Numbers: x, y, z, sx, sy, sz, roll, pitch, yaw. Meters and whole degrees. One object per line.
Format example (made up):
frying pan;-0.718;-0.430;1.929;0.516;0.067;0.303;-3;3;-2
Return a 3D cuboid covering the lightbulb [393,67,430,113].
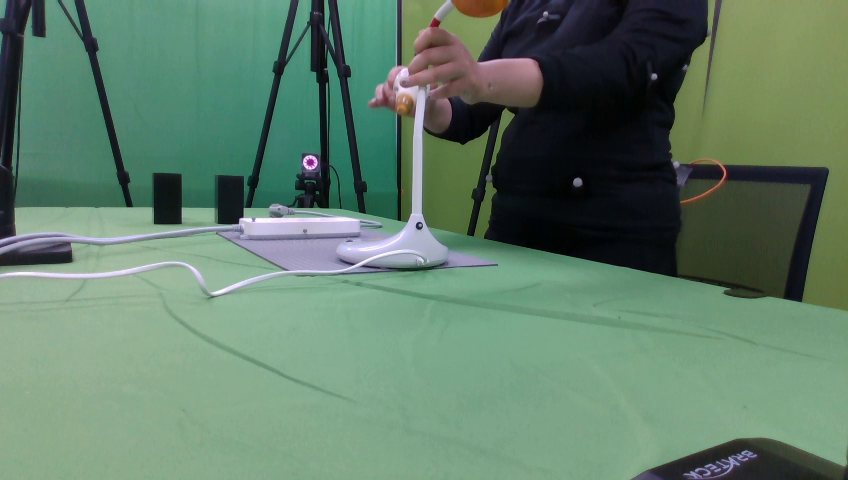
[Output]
lightbulb;-0.024;-0.235;0.962;0.059;0.059;0.107;4;41;11

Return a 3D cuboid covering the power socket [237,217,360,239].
power socket;-0.220;-0.023;1.080;0.228;0.032;0.072;-2;8;-33

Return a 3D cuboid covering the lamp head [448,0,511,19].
lamp head;0.064;-0.323;0.705;0.112;0.122;0.112;6;-4;1

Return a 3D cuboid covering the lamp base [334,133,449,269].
lamp base;-0.034;-0.057;0.831;0.161;0.180;0.178;-2;11;-36

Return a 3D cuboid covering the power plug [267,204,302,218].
power plug;-0.327;-0.060;1.404;0.073;0.035;0.052;22;-15;-26
